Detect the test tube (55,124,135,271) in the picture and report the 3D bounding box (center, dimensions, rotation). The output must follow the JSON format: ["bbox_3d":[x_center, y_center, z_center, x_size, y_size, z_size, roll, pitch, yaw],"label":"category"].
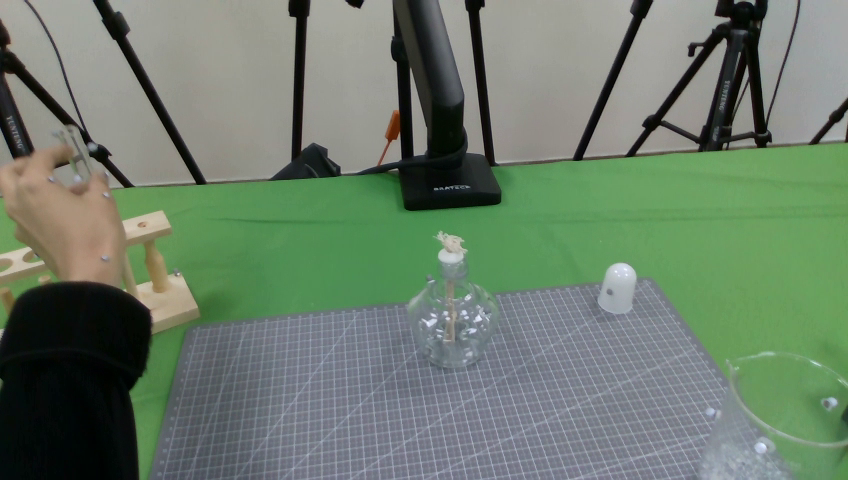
[{"bbox_3d":[-0.276,-0.030,0.516,0.017,0.151,0.017,0,41,0],"label":"test tube"}]

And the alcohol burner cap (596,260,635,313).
[{"bbox_3d":[0.181,0.041,0.567,0.034,0.048,0.033,0,35,1],"label":"alcohol burner cap"}]

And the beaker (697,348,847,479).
[{"bbox_3d":[0.220,0.129,0.388,0.074,0.101,0.083,-24,40,-29],"label":"beaker"}]

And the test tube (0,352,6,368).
[{"bbox_3d":[-0.357,0.043,0.460,0.017,0.152,0.017,-1,34,1],"label":"test tube"}]

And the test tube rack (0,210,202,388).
[{"bbox_3d":[-0.329,0.058,0.515,0.243,0.086,0.066,-20,39,-26],"label":"test tube rack"}]

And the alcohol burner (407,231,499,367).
[{"bbox_3d":[0.023,0.046,0.499,0.078,0.120,0.077,-2,34,1],"label":"alcohol burner"}]
